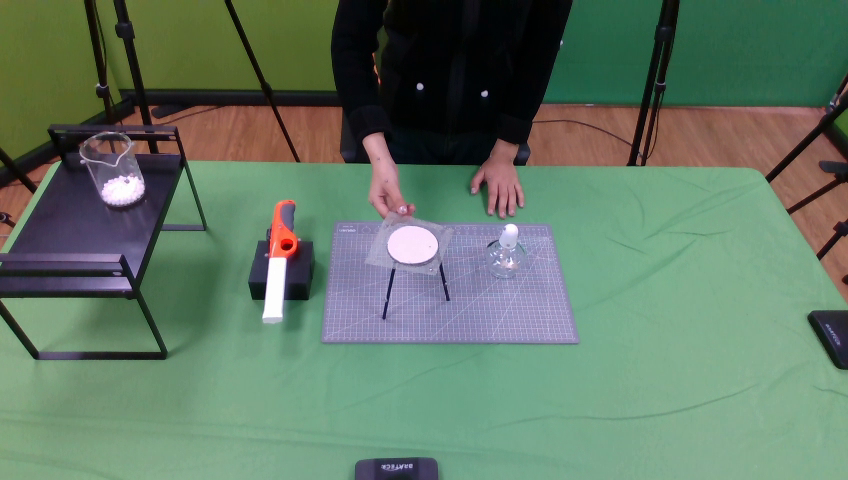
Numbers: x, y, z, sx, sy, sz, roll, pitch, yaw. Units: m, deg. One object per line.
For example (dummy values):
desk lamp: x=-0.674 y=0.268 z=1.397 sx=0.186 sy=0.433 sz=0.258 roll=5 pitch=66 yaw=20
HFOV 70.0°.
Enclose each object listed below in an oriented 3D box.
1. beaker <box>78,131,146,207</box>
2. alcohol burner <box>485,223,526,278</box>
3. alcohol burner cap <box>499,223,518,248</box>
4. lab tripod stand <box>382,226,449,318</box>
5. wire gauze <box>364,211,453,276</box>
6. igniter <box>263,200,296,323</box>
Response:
beaker: x=-0.488 y=-0.108 z=0.961 sx=0.074 sy=0.101 sz=0.083 roll=-25 pitch=54 yaw=-25
alcohol burner: x=0.154 y=0.014 z=1.129 sx=0.078 sy=0.119 sz=0.077 roll=2 pitch=44 yaw=-2
alcohol burner cap: x=0.156 y=-0.010 z=1.102 sx=0.034 sy=0.048 sz=0.033 roll=1 pitch=54 yaw=-2
lab tripod stand: x=-0.024 y=0.055 z=1.063 sx=0.148 sy=0.132 sz=0.147 roll=2 pitch=48 yaw=-2
wire gauze: x=-0.024 y=0.006 z=1.016 sx=0.121 sy=0.011 sz=0.124 roll=14 pitch=48 yaw=9
igniter: x=-0.260 y=0.028 z=1.083 sx=0.057 sy=0.025 sz=0.274 roll=0 pitch=49 yaw=-7
